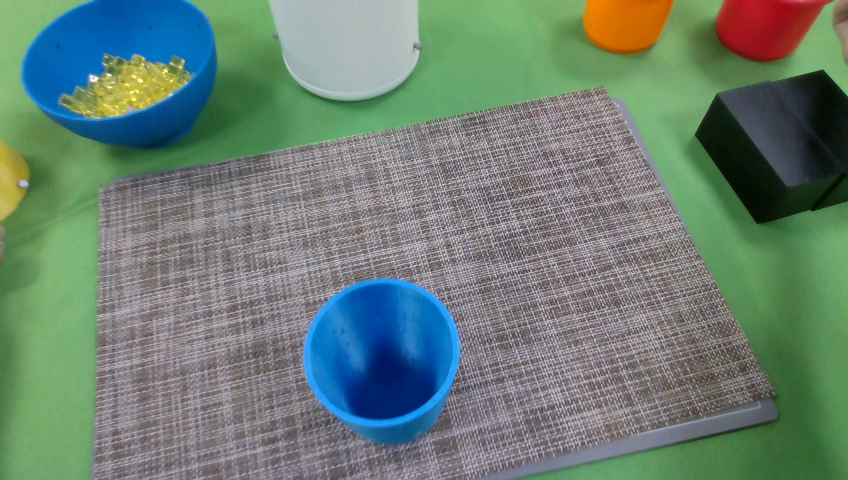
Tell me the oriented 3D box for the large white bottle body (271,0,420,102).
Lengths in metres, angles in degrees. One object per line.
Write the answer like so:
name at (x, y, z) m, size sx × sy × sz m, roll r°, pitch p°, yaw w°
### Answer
large white bottle body at (-0.069, -0.225, 0.510) m, size 0.130 × 0.186 × 0.129 m, roll 0°, pitch 59°, yaw 0°

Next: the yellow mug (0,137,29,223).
yellow mug at (-0.376, -0.046, 0.472) m, size 0.100 × 0.064 × 0.129 m, roll -19°, pitch 63°, yaw -10°

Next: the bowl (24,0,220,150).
bowl at (-0.241, -0.131, 0.517) m, size 0.151 × 0.077 × 0.150 m, roll 0°, pitch 59°, yaw 0°

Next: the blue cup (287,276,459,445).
blue cup at (-0.022, 0.083, 0.368) m, size 0.092 × 0.101 × 0.092 m, roll -1°, pitch 60°, yaw 2°

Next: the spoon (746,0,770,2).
spoon at (0.351, -0.227, 0.491) m, size 0.041 × 0.192 × 0.022 m, roll -42°, pitch 111°, yaw -26°

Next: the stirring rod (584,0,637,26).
stirring rod at (0.222, -0.237, 0.543) m, size 0.175 × 0.006 × 0.014 m, roll -18°, pitch 48°, yaw 41°
